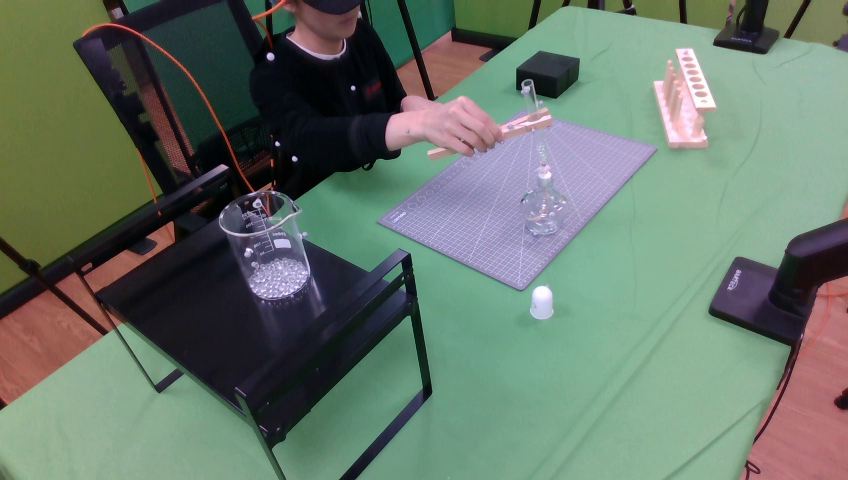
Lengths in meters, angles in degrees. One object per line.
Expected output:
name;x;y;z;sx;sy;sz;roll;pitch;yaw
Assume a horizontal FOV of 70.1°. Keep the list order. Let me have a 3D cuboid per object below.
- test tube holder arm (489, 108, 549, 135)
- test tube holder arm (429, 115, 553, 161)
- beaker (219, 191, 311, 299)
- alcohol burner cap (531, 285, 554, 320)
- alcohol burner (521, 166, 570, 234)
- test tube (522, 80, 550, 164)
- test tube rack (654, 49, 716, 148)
test tube holder arm;0.134;-0.162;0.850;0.088;0.015;0.010;-22;45;3
test tube holder arm;0.092;-0.143;0.851;0.178;0.015;0.013;-17;45;8
beaker;-0.164;0.008;0.654;0.084;0.101;0.073;-10;41;-3
alcohol burner cap;0.164;0.084;0.838;0.034;0.048;0.033;-4;40;4
alcohol burner;0.192;-0.068;0.951;0.078;0.119;0.077;-4;43;4
test tube;0.159;-0.162;0.849;0.017;0.151;0.017;-11;50;14
test tube rack;0.502;-0.281;1.176;0.066;0.085;0.241;2;41;11
